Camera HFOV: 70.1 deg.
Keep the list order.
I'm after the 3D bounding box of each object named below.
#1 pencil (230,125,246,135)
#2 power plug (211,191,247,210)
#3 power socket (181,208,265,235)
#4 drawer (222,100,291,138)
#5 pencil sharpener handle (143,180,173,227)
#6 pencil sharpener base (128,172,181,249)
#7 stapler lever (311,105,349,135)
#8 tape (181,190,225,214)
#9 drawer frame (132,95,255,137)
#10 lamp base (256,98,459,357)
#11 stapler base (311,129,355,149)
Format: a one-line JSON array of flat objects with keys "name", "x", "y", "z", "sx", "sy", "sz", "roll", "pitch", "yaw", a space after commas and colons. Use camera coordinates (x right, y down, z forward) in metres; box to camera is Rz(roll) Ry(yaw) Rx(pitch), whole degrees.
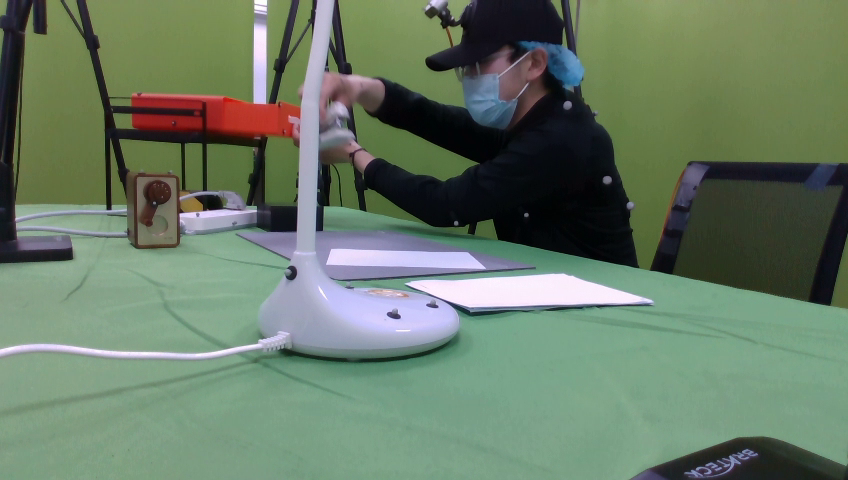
[{"name": "pencil", "x": -0.415, "y": -0.248, "z": 1.354, "sx": 0.012, "sy": 0.012, "sz": 0.193, "roll": -2, "pitch": 6, "yaw": -26}, {"name": "power plug", "x": -0.386, "y": -0.071, "z": 1.204, "sx": 0.072, "sy": 0.052, "sz": 0.035, "roll": 6, "pitch": 9, "yaw": 26}, {"name": "power socket", "x": -0.381, "y": -0.038, "z": 1.129, "sx": 0.072, "sy": 0.032, "sz": 0.227, "roll": 4, "pitch": 8, "yaw": 17}, {"name": "drawer", "x": -0.387, "y": -0.271, "z": 1.363, "sx": 0.211, "sy": 0.073, "sz": 0.194, "roll": 3, "pitch": 8, "yaw": 8}, {"name": "pencil sharpener handle", "x": -0.371, "y": -0.050, "z": 0.840, "sx": 0.036, "sy": 0.067, "sz": 0.030, "roll": 24, "pitch": -5, "yaw": -34}, {"name": "pencil sharpener base", "x": -0.395, "y": -0.044, "z": 0.887, "sx": 0.062, "sy": 0.107, "sz": 0.076, "roll": -2, "pitch": 9, "yaw": -34}, {"name": "stapler lever", "x": -0.176, "y": -0.211, "z": 1.087, "sx": 0.027, "sy": 0.040, "sz": 0.117, "roll": 2, "pitch": -6, "yaw": -41}, {"name": "tape", "x": -0.515, "y": -0.087, "z": 1.388, "sx": 0.117, "sy": 0.052, "sz": 0.117, "roll": 3, "pitch": 7, "yaw": 0}, {"name": "drawer frame", "x": -0.506, "y": -0.280, "z": 1.378, "sx": 0.213, "sy": 0.082, "sz": 0.202, "roll": 3, "pitch": 8, "yaw": 7}, {"name": "lamp base", "x": -0.055, "y": -0.013, "z": 0.463, "sx": 0.160, "sy": 0.180, "sz": 0.180, "roll": 6, "pitch": 11, "yaw": 27}, {"name": "stapler base", "x": -0.173, "y": -0.186, "z": 1.085, "sx": 0.041, "sy": 0.024, "sz": 0.130, "roll": 2, "pitch": -6, "yaw": -41}]
